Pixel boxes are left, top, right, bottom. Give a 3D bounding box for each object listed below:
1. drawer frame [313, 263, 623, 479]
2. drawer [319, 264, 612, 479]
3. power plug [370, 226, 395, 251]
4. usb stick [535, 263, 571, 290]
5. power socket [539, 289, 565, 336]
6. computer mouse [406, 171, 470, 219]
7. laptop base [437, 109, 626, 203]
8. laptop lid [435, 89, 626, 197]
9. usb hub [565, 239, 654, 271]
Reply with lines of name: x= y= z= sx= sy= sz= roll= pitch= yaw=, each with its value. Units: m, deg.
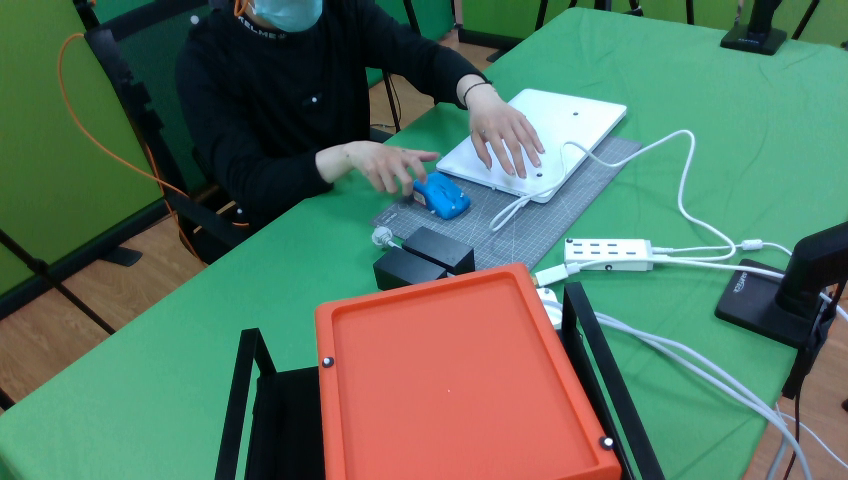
drawer frame: x=0.021 y=0.130 z=0.494 sx=0.202 sy=0.083 sz=0.212 roll=-11 pitch=41 yaw=-6
drawer: x=0.020 y=0.129 z=0.497 sx=0.195 sy=0.073 sz=0.210 roll=-11 pitch=41 yaw=-5
power plug: x=-0.064 y=0.008 z=0.956 sx=0.035 sy=0.053 sz=0.072 roll=-22 pitch=51 yaw=1
usb stick: x=0.181 y=0.058 z=0.876 sx=0.059 sy=0.027 sz=0.021 roll=-32 pitch=88 yaw=-6
power socket: x=0.081 y=0.112 z=0.822 sx=0.227 sy=0.033 sz=0.072 roll=-7 pitch=41 yaw=-1
computer mouse: x=0.024 y=-0.082 z=1.049 sx=0.063 sy=0.041 sz=0.116 roll=-30 pitch=49 yaw=-27
laptop base: x=0.214 y=-0.193 z=1.172 sx=0.233 sy=0.023 sz=0.355 roll=19 pitch=46 yaw=32
laptop lid: x=0.211 y=-0.202 z=1.165 sx=0.240 sy=0.013 sz=0.358 roll=21 pitch=47 yaw=32
usb hub: x=0.275 y=0.022 z=0.906 sx=0.125 sy=0.025 sz=0.049 roll=1 pitch=41 yaw=9
